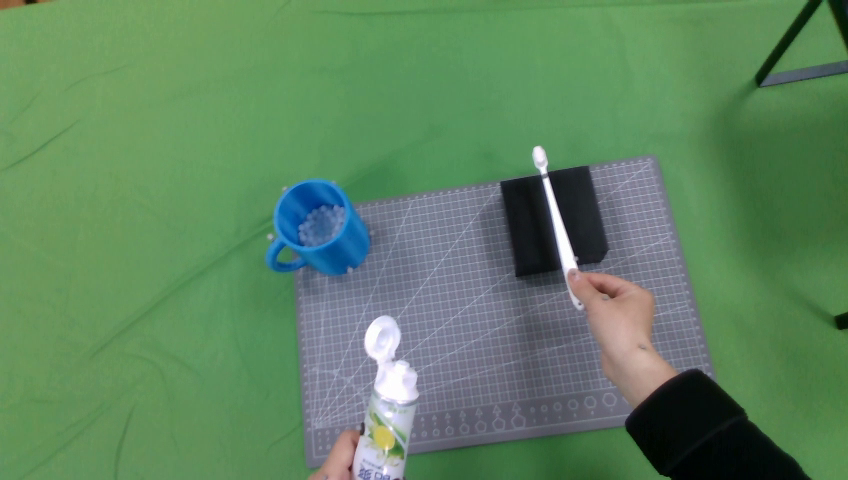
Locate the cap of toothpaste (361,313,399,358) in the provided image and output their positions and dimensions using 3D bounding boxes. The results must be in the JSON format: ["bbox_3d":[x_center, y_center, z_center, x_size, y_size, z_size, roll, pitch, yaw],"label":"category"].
[{"bbox_3d":[-0.032,0.074,0.465,0.011,0.038,0.037,13,73,46],"label":"cap of toothpaste"}]

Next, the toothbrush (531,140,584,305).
[{"bbox_3d":[0.138,-0.021,0.626,0.014,0.017,0.181,-13,75,5],"label":"toothbrush"}]

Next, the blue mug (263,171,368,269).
[{"bbox_3d":[-0.127,-0.010,0.680,0.116,0.106,0.082,-36,73,-4],"label":"blue mug"}]

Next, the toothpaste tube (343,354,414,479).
[{"bbox_3d":[-0.038,0.165,0.468,0.055,0.034,0.165,15,100,23],"label":"toothpaste tube"}]
